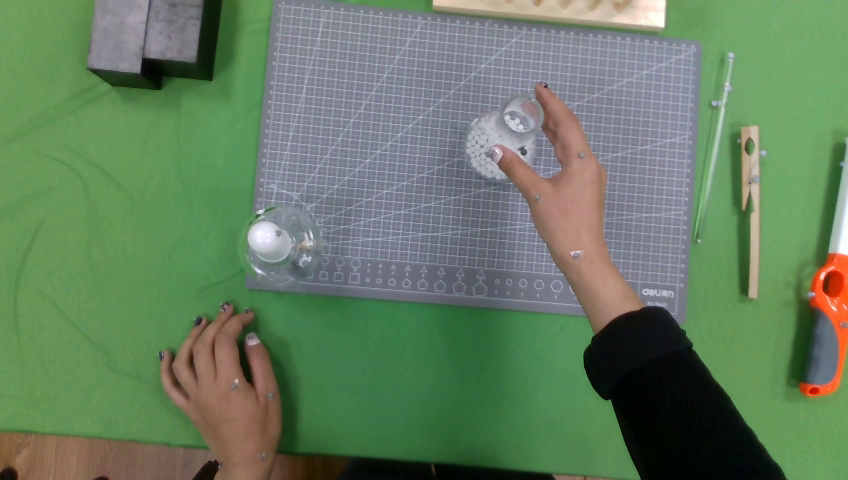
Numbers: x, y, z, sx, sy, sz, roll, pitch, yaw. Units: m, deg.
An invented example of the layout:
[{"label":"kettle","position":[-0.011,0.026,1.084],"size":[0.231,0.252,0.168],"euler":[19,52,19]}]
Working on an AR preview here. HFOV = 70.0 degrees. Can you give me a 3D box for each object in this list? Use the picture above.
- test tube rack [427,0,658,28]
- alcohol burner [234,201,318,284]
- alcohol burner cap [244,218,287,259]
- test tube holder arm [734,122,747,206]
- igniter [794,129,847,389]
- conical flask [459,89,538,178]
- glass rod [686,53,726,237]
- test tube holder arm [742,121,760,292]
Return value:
[{"label":"test tube rack","position":[0.127,-0.270,0.600],"size":[0.242,0.085,0.066],"euler":[4,86,-3]},{"label":"alcohol burner","position":[-0.139,0.001,0.555],"size":[0.078,0.119,0.077],"euler":[0,85,-1]},{"label":"alcohol burner cap","position":[-0.138,-0.004,0.519],"size":[0.034,0.048,0.033],"euler":[1,78,-3]},{"label":"test tube holder arm","position":[0.333,-0.079,0.636],"size":[0.010,0.015,0.087],"euler":[-4,87,34]},{"label":"igniter","position":[0.427,0.020,0.630],"size":[0.057,0.025,0.276],"euler":[13,87,-12]},{"label":"conical flask","position":[0.075,-0.104,0.567],"size":[0.075,0.122,0.075],"euler":[0,86,-3]},{"label":"glass rod","position":[0.297,-0.100,0.638],"size":[0.008,0.008,0.199],"euler":[12,89,-2]},{"label":"test tube holder arm","position":[0.340,-0.035,0.630],"size":[0.013,0.015,0.178],"euler":[-5,86,33]}]
